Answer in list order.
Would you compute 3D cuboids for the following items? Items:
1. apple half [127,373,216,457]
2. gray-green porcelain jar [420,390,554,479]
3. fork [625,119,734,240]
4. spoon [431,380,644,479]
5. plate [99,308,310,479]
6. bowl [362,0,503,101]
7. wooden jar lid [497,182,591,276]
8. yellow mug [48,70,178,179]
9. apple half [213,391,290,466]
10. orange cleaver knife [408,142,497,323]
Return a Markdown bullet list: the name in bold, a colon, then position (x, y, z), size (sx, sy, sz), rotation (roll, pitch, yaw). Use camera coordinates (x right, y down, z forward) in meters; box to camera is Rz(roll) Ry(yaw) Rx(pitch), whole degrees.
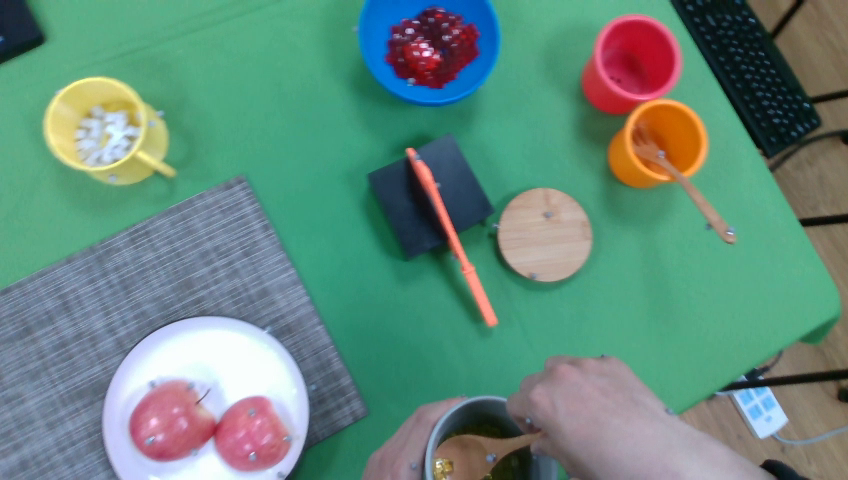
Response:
- **apple half**: position (-0.261, 0.180, 0.614), size (0.074, 0.053, 0.080), rotation (-30, 88, -5)
- **gray-green porcelain jar**: position (0.049, 0.199, 0.534), size (0.106, 0.127, 0.105), rotation (1, 63, -2)
- **fork**: position (0.268, -0.070, 0.645), size (0.028, 0.019, 0.205), rotation (-12, 42, -5)
- **spoon**: position (0.082, 0.149, 0.475), size (0.193, 0.022, 0.041), rotation (-31, 78, 31)
- **plate**: position (-0.224, 0.175, 0.632), size (0.209, 0.038, 0.208), rotation (1, 84, -5)
- **bowl**: position (0.007, -0.218, 0.675), size (0.151, 0.077, 0.151), rotation (0, 84, -4)
- **wooden jar lid**: position (0.137, -0.011, 0.694), size (0.108, 0.021, 0.108), rotation (0, 85, -3)
- **yellow mug**: position (-0.318, -0.112, 0.644), size (0.131, 0.064, 0.100), rotation (34, 82, -1)
- **apple half**: position (-0.183, 0.199, 0.627), size (0.081, 0.033, 0.081), rotation (0, 81, -2)
- **orange cleaver knife**: position (0.030, -0.007, 0.654), size (0.012, 0.076, 0.213), rotation (-26, 111, -4)
